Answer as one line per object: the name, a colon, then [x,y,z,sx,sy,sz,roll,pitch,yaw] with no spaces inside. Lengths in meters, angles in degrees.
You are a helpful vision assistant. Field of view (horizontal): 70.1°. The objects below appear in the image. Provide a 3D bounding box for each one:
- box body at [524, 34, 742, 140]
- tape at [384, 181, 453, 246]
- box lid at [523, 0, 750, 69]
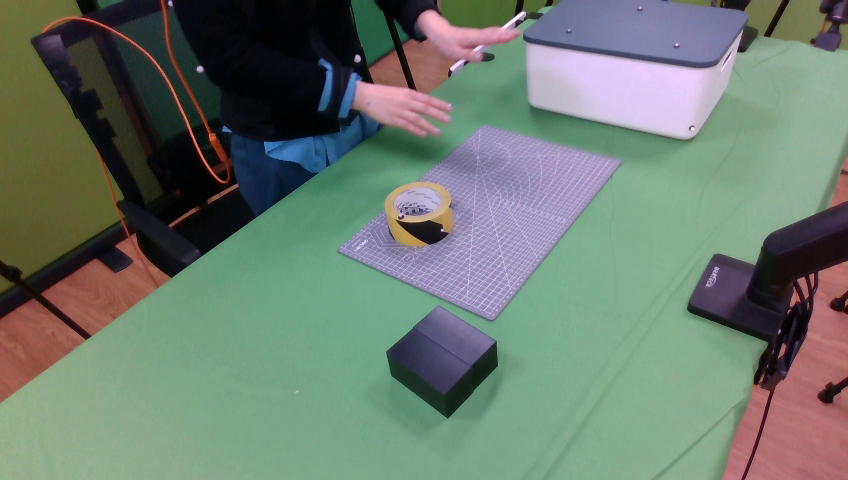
box body: [0.412,-0.355,1.213,0.361,0.161,0.254,20,48,29]
tape: [-0.009,-0.045,0.994,0.117,0.053,0.116,-4,40,4]
box lid: [0.405,-0.409,1.163,0.368,0.015,0.264,20,47,29]
